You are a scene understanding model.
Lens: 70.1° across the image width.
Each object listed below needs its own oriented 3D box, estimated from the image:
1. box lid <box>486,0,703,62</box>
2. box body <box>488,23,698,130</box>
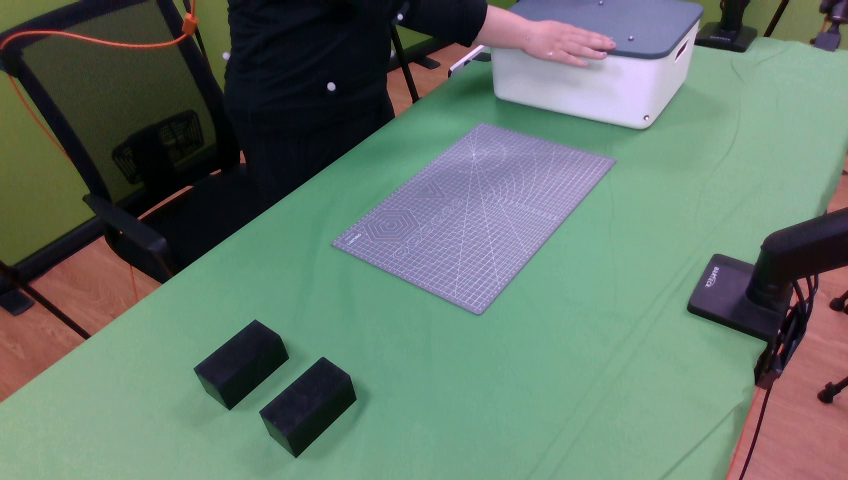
[{"bbox_3d":[0.338,-0.434,1.208,0.369,0.015,0.264,20,47,29],"label":"box lid"},{"bbox_3d":[0.345,-0.379,1.257,0.361,0.161,0.255,20,48,29],"label":"box body"}]
